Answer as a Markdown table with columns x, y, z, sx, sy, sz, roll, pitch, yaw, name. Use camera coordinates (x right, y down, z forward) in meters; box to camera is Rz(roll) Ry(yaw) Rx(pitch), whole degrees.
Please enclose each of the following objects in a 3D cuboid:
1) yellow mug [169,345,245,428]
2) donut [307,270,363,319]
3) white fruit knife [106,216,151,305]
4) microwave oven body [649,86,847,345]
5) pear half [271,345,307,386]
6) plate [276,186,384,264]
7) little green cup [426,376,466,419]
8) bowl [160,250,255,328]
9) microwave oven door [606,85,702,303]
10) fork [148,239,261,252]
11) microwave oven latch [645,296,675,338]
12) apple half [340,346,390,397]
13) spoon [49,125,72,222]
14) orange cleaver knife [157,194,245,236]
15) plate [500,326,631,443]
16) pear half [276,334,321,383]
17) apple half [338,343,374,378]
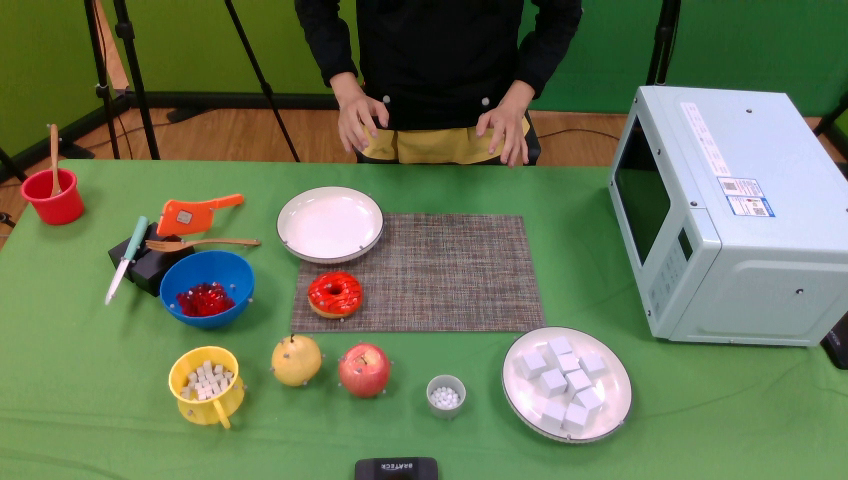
| x | y | z | sx | sy | sz | roll | pitch | yaw | name |
| --- | --- | --- | --- | --- | --- | --- | --- | --- | --- |
| -0.322 | 0.230 | 0.922 | 0.100 | 0.064 | 0.130 | -24 | 53 | -25 | yellow mug |
| -0.157 | 0.097 | 1.073 | 0.099 | 0.048 | 0.098 | 4 | 45 | -4 | donut |
| -0.519 | 0.032 | 1.066 | 0.027 | 0.016 | 0.206 | -18 | 45 | 19 | white fruit knife |
| 0.567 | -0.053 | 1.118 | 0.326 | 0.261 | 0.439 | 2 | 45 | -1 | microwave oven body |
| -0.216 | 0.200 | 0.943 | 0.070 | 0.088 | 0.031 | 27 | 49 | 15 | pear half |
| -0.184 | -0.027 | 1.195 | 0.209 | 0.038 | 0.208 | 2 | 46 | -2 | plate |
| 0.033 | 0.248 | 0.950 | 0.061 | 0.039 | 0.061 | 2 | 46 | -2 | little green cup |
| -0.362 | 0.097 | 1.040 | 0.151 | 0.077 | 0.150 | 2 | 45 | -2 | bowl |
| 0.423 | -0.094 | 1.140 | 0.039 | 0.245 | 0.353 | 2 | 46 | -1 | microwave oven door |
| -0.399 | 0.007 | 1.118 | 0.208 | 0.019 | 0.028 | -4 | 36 | -36 | fork |
| 0.412 | 0.134 | 1.061 | 0.030 | 0.029 | 0.078 | 3 | 45 | 0 | microwave oven latch |
| -0.085 | 0.214 | 0.950 | 0.081 | 0.075 | 0.053 | -29 | 58 | -32 | apple half |
| -0.717 | -0.132 | 1.189 | 0.041 | 0.021 | 0.193 | -3 | 90 | -6 | spoon |
| -0.427 | -0.050 | 1.175 | 0.012 | 0.077 | 0.211 | 22 | 19 | 20 | orange cleaver knife |
| 0.224 | 0.234 | 0.978 | 0.208 | 0.039 | 0.206 | 2 | 46 | -2 | plate |
| -0.196 | 0.172 | 0.957 | 0.076 | 0.110 | 0.056 | 27 | 51 | 16 | pear half |
| -0.112 | 0.192 | 0.968 | 0.081 | 0.081 | 0.032 | -32 | 59 | -29 | apple half |
